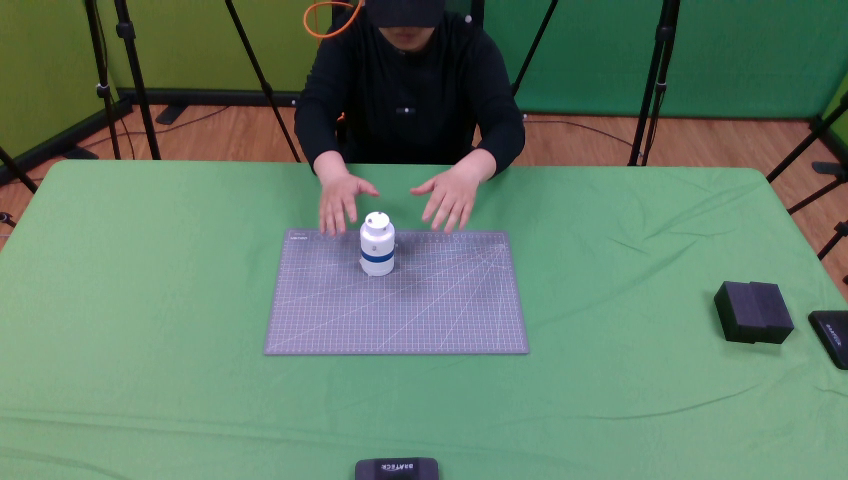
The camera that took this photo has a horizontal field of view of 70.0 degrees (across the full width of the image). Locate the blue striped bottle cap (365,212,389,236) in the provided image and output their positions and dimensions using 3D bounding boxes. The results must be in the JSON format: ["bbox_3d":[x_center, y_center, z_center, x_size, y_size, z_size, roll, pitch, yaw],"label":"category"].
[{"bbox_3d":[-0.084,-0.029,1.077,0.044,0.021,0.044,1,46,-1],"label":"blue striped bottle cap"}]

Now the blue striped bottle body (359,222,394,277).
[{"bbox_3d":[-0.087,0.006,1.113,0.063,0.121,0.062,2,46,-2],"label":"blue striped bottle body"}]
